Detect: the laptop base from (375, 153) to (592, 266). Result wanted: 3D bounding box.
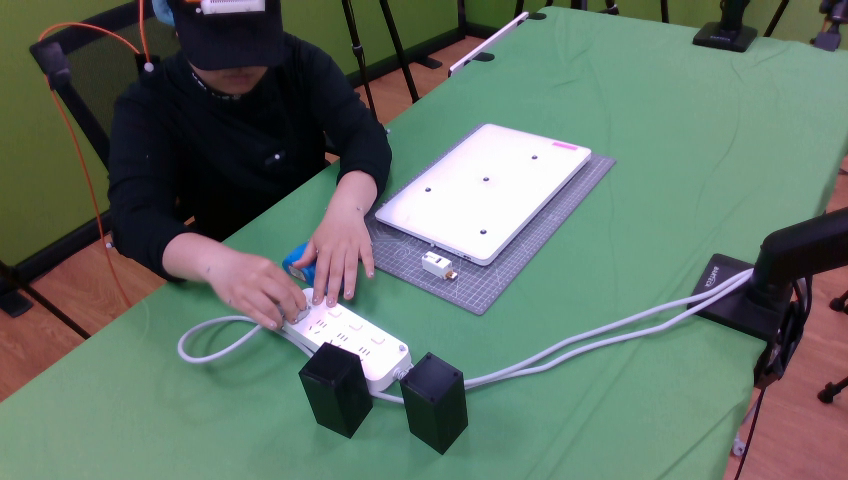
[{"bbox_3d":[0.112,-0.092,1.064,0.233,0.023,0.355,21,47,34],"label":"laptop base"}]

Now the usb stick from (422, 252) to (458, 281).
[{"bbox_3d":[0.025,0.042,0.909,0.058,0.027,0.021,27,49,31],"label":"usb stick"}]

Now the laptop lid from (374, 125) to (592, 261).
[{"bbox_3d":[0.109,-0.101,1.057,0.239,0.013,0.358,23,48,34],"label":"laptop lid"}]

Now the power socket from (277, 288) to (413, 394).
[{"bbox_3d":[-0.114,0.132,0.821,0.225,0.033,0.072,26,49,33],"label":"power socket"}]

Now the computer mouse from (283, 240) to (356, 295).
[{"bbox_3d":[-0.163,0.039,0.935,0.116,0.041,0.063,29,49,30],"label":"computer mouse"}]

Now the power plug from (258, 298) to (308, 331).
[{"bbox_3d":[-0.195,0.107,0.839,0.073,0.053,0.035,-31,50,-13],"label":"power plug"}]
